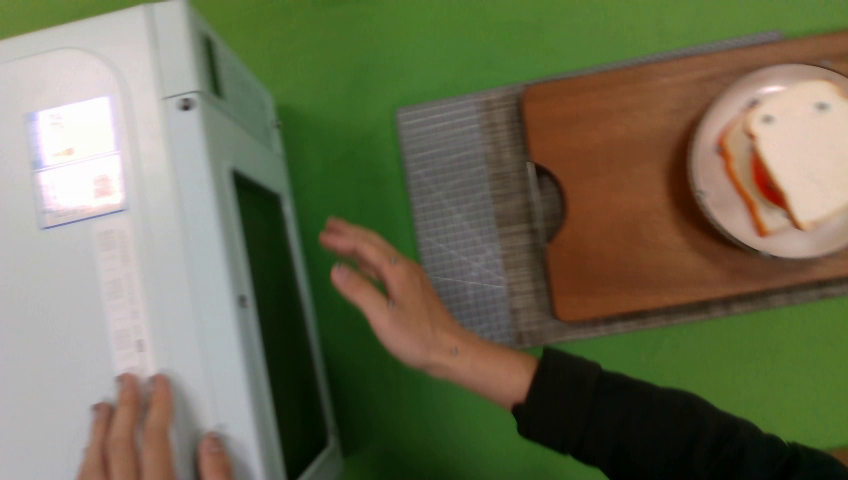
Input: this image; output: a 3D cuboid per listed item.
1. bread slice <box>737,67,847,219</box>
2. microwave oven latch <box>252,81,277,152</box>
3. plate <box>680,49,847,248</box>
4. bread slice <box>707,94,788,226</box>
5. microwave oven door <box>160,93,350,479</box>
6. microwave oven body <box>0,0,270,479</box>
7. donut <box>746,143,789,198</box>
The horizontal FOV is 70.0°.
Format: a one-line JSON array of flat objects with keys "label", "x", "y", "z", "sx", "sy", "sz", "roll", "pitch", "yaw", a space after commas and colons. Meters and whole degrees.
[{"label": "bread slice", "x": 0.367, "y": -0.098, "z": 0.582, "sx": 0.107, "sy": 0.018, "sz": 0.133, "roll": -33, "pitch": 80, "yaw": 1}, {"label": "microwave oven latch", "x": -0.188, "y": -0.137, "z": 0.679, "sx": 0.030, "sy": 0.029, "sz": 0.079, "roll": -14, "pitch": 87, "yaw": 1}, {"label": "plate", "x": 0.373, "y": -0.094, "z": 0.640, "sx": 0.207, "sy": 0.039, "sz": 0.207, "roll": 0, "pitch": 87, "yaw": 3}, {"label": "bread slice", "x": 0.366, "y": -0.093, "z": 0.644, "sx": 0.105, "sy": 0.019, "sz": 0.131, "roll": -30, "pitch": 89, "yaw": -1}, {"label": "microwave oven door", "x": -0.145, "y": 0.069, "z": 0.564, "sx": 0.039, "sy": 0.244, "sz": 0.355, "roll": -14, "pitch": 86, "yaw": 2}, {"label": "microwave oven body", "x": -0.297, "y": 0.063, "z": 0.576, "sx": 0.326, "sy": 0.260, "sz": 0.441, "roll": -14, "pitch": 87, "yaw": 1}, {"label": "donut", "x": 0.375, "y": -0.089, "z": 0.611, "sx": 0.099, "sy": 0.048, "sz": 0.099, "roll": 0, "pitch": 90, "yaw": -4}]
